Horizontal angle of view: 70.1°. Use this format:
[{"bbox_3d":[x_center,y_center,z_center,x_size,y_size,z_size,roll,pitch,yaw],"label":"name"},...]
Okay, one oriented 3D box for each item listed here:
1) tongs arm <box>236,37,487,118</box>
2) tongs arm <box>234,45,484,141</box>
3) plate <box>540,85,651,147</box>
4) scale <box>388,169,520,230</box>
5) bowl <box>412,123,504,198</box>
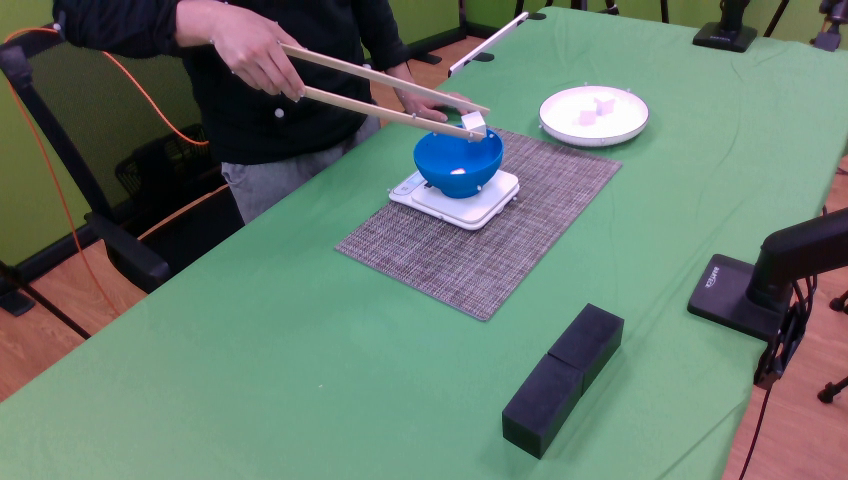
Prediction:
[{"bbox_3d":[-0.087,-0.243,0.920,0.389,0.027,0.028,14,75,-12],"label":"tongs arm"},{"bbox_3d":[-0.091,-0.217,0.911,0.387,0.026,0.050,11,72,-13],"label":"tongs arm"},{"bbox_3d":[0.333,-0.238,1.186,0.207,0.039,0.206,-4,41,4],"label":"plate"},{"bbox_3d":[0.050,-0.090,1.052,0.199,0.032,0.149,24,49,31],"label":"scale"},{"bbox_3d":[0.059,-0.123,1.007,0.151,0.077,0.150,-5,41,5],"label":"bowl"}]
